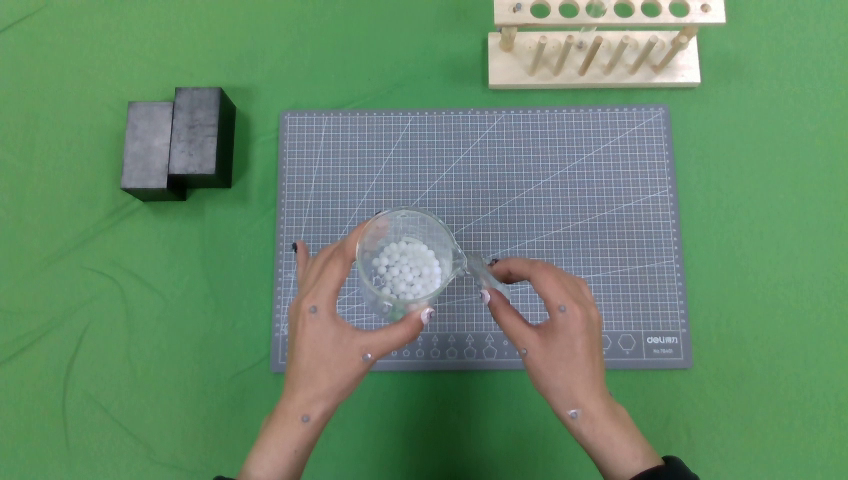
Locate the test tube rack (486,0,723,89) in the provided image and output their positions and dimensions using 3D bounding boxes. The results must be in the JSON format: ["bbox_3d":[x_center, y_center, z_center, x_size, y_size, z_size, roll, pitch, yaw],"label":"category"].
[{"bbox_3d":[0.194,-0.219,0.676,0.242,0.085,0.066,0,78,1],"label":"test tube rack"}]

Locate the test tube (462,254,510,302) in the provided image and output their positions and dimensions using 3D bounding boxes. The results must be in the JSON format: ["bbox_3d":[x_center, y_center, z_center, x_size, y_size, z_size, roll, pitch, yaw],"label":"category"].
[{"bbox_3d":[0.056,0.036,0.519,0.017,0.151,0.017,-4,75,16],"label":"test tube"}]

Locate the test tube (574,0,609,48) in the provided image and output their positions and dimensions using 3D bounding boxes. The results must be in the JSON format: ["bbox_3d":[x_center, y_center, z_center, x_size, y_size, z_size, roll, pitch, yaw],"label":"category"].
[{"bbox_3d":[0.182,-0.247,0.632,0.017,0.151,0.017,1,75,-2],"label":"test tube"}]

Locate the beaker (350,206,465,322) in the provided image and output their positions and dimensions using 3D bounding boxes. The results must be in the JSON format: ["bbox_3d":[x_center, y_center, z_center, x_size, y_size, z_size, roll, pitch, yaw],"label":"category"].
[{"bbox_3d":[-0.015,0.025,0.483,0.084,0.100,0.073,4,73,-4],"label":"beaker"}]
